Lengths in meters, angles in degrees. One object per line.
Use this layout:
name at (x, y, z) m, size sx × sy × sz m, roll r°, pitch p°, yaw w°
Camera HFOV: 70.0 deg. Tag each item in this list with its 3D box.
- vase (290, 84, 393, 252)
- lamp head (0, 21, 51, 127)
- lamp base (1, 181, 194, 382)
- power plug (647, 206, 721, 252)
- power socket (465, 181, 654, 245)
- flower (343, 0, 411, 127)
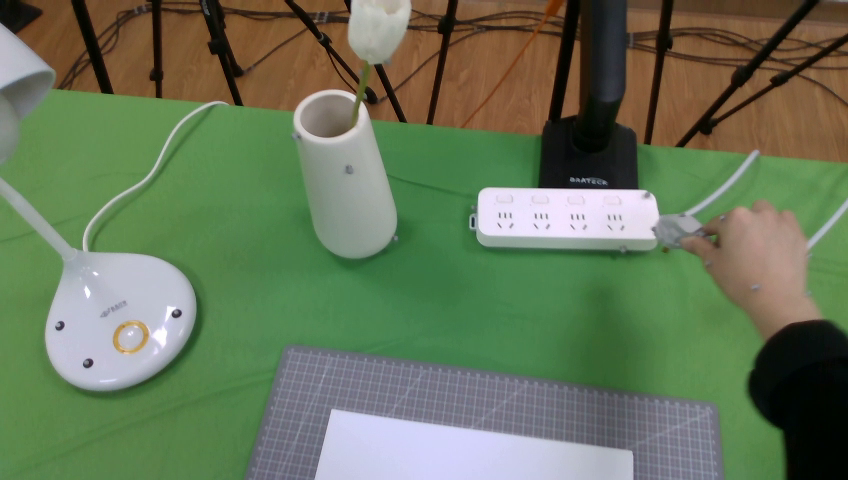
vase at (-0.089, -0.070, 0.649) m, size 0.098 × 0.202 × 0.097 m, roll -1°, pitch 58°, yaw 3°
lamp head at (-0.309, -0.111, 0.352) m, size 0.123 × 0.112 × 0.112 m, roll 47°, pitch 64°, yaw -16°
lamp base at (-0.347, 0.031, 0.605) m, size 0.178 × 0.182 × 0.160 m, roll 36°, pitch 66°, yaw 25°
power plug at (0.250, -0.002, 0.599) m, size 0.035 × 0.053 × 0.072 m, roll -16°, pitch 58°, yaw -11°
power socket at (0.162, -0.032, 0.716) m, size 0.227 × 0.033 × 0.071 m, roll 2°, pitch 59°, yaw 3°
flower at (-0.073, -0.104, 0.573) m, size 0.044 × 0.363 × 0.038 m, roll -30°, pitch 79°, yaw -25°
